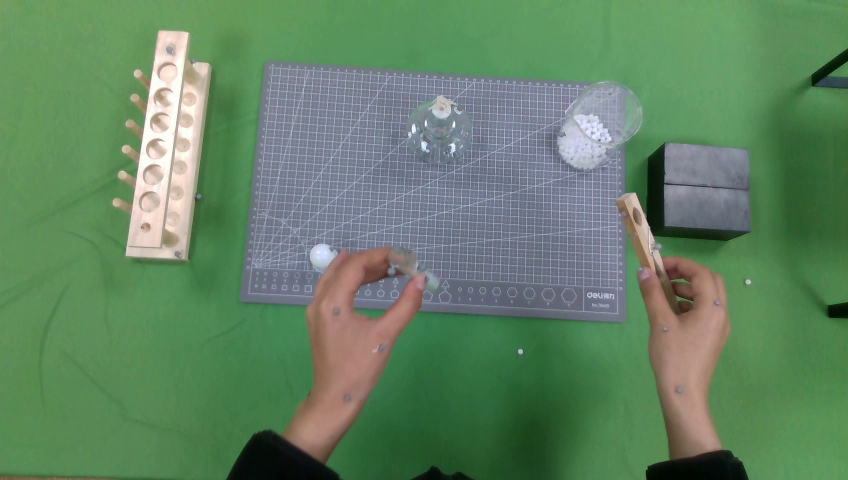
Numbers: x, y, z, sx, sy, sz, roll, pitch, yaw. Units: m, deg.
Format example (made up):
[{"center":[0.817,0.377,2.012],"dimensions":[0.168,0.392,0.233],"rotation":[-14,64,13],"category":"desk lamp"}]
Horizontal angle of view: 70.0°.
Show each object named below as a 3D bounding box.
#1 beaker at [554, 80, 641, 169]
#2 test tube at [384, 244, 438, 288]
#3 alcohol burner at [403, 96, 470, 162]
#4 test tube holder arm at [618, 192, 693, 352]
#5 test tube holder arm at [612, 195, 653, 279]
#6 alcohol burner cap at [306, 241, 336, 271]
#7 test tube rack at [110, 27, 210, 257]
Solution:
[{"center":[0.192,-0.129,0.701],"dimensions":[0.084,0.100,0.073],"rotation":[2,78,-1],"category":"beaker"},{"center":[-0.007,0.025,0.519],"dimensions":[0.017,0.151,0.017],"rotation":[-2,78,11],"category":"test tube"},{"center":[0.015,-0.132,0.686],"dimensions":[0.078,0.119,0.077],"rotation":[0,80,-1],"category":"alcohol burner"},{"center":[0.227,0.034,0.590],"dimensions":[0.013,0.015,0.179],"rotation":[-32,105,-11],"category":"test tube holder arm"},{"center":[0.202,-0.002,0.577],"dimensions":[0.010,0.015,0.088],"rotation":[-31,105,-11],"category":"test tube holder arm"},{"center":[-0.119,0.016,0.688],"dimensions":[0.034,0.048,0.033],"rotation":[1,80,-3],"category":"alcohol burner cap"},{"center":[-0.301,-0.108,0.682],"dimensions":[0.067,0.085,0.241],"rotation":[3,79,-2],"category":"test tube rack"}]
